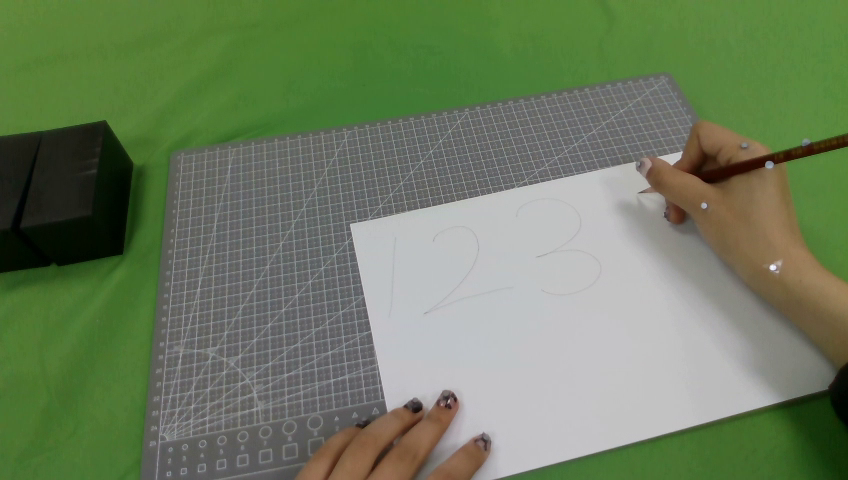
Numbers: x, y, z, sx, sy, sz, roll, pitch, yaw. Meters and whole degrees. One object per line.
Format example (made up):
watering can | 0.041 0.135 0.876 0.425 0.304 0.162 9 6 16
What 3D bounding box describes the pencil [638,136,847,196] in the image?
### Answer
pencil | 0.210 -0.047 0.385 0.012 0.193 0.012 4 81 -27
